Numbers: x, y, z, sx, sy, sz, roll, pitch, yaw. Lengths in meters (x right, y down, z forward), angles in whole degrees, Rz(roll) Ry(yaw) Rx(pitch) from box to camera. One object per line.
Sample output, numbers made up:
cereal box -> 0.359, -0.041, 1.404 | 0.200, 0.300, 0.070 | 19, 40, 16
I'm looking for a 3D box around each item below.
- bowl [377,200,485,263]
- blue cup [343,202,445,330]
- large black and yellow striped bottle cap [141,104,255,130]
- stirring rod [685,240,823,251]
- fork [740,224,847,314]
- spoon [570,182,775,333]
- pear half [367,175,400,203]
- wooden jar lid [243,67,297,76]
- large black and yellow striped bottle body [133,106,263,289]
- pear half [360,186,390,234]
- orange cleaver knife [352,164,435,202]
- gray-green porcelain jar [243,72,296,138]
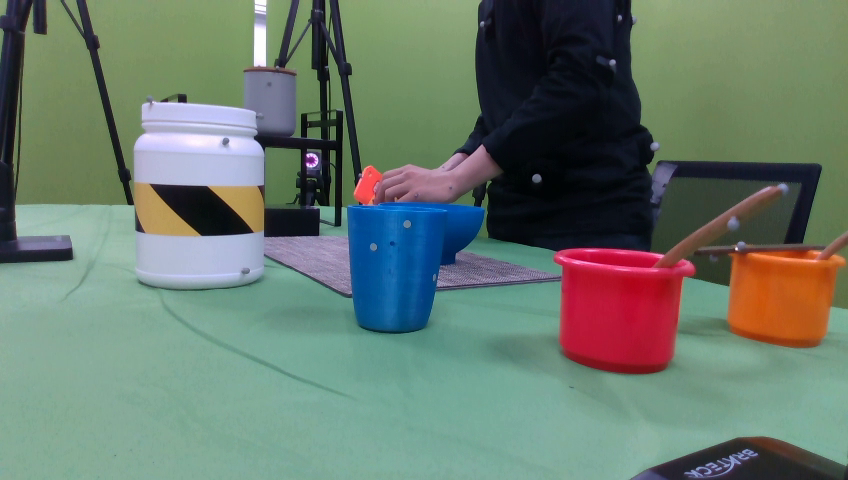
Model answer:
bowl -> 0.008, -0.012, 0.842 | 0.151, 0.077, 0.151 | 3, 8, 0
blue cup -> -0.027, 0.021, 0.510 | 0.093, 0.100, 0.092 | 3, 5, 0
large black and yellow striped bottle cap -> -0.241, -0.131, 0.650 | 0.115, 0.019, 0.115 | 4, 8, 0
stirring rod -> 0.289, 0.005, 0.525 | 0.177, 0.006, 0.014 | -1, 7, -26
fork -> 0.323, 0.013, 0.485 | 0.028, 0.018, 0.207 | 9, -38, -5
spoon -> 0.160, 0.020, 0.413 | 0.042, 0.021, 0.193 | 0, -36, -24
pear half -> -0.065, -0.060, 1.074 | 0.055, 0.110, 0.077 | 7, 13, 40
wooden jar lid -> -0.319, -0.342, 1.254 | 0.108, 0.020, 0.108 | 3, 8, 0
large black and yellow striped bottle body -> -0.243, -0.048, 0.659 | 0.131, 0.184, 0.130 | 2, 7, 0
pear half -> -0.095, -0.054, 1.104 | 0.031, 0.088, 0.071 | 0, 5, 35
orange cleaver knife -> -0.053, -0.080, 1.125 | 0.012, 0.077, 0.212 | 7, -7, 41
gray-green porcelain jar -> -0.322, -0.279, 1.263 | 0.106, 0.126, 0.106 | 3, 8, 0
